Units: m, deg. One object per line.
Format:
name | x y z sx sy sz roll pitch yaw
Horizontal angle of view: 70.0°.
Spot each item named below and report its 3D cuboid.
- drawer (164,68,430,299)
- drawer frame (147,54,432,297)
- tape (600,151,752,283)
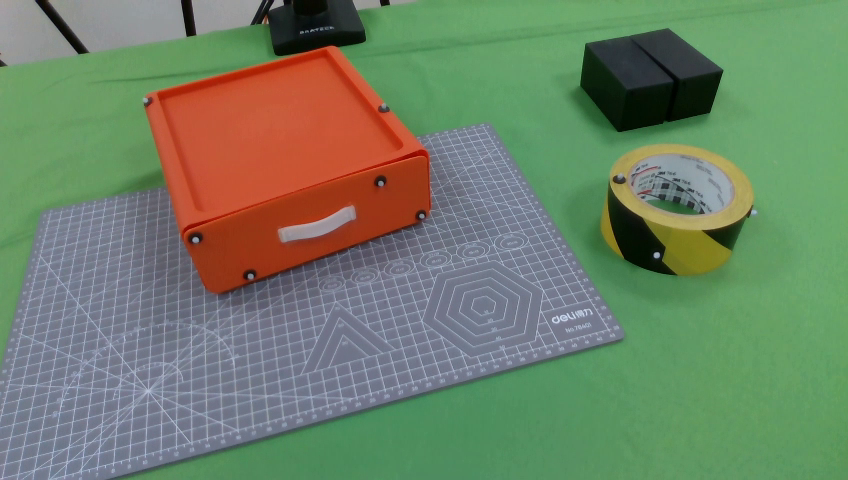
drawer | -0.125 -0.067 0.552 0.195 0.074 0.209 -21 46 -16
drawer frame | -0.128 -0.071 0.555 0.202 0.083 0.211 -21 46 -17
tape | 0.208 -0.023 0.508 0.117 0.053 0.115 -1 44 2
